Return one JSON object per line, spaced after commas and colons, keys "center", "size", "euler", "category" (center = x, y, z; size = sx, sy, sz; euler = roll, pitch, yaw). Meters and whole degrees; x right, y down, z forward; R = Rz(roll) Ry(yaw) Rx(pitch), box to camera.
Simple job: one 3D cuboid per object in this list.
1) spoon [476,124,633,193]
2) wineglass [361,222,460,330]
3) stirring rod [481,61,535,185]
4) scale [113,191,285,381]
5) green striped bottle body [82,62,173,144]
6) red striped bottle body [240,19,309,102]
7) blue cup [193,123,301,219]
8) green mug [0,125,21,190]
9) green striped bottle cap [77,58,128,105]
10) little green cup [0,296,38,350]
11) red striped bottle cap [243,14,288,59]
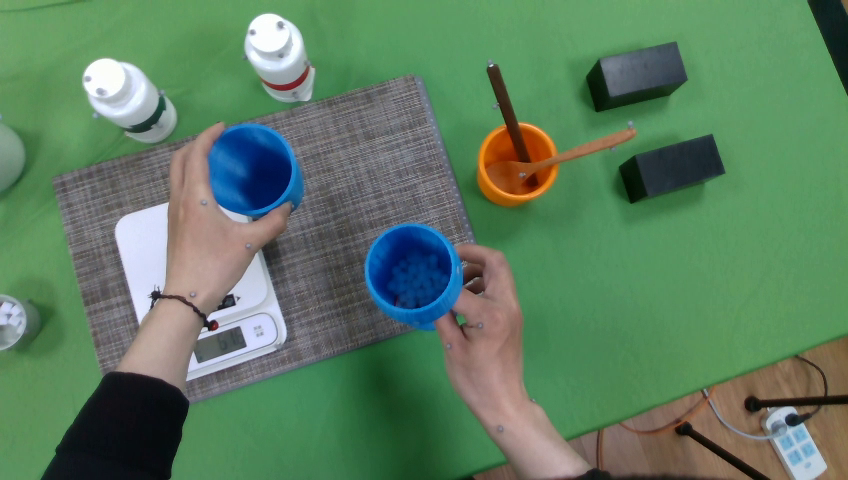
{"center": [0.141, -0.092, 0.681], "size": [0.022, 0.193, 0.041], "euler": [-20, 94, -49], "category": "spoon"}
{"center": [-0.005, 0.035, 0.492], "size": [0.073, 0.173, 0.073], "euler": [-1, 78, 4], "category": "wineglass"}
{"center": [0.097, -0.125, 0.681], "size": [0.014, 0.178, 0.006], "euler": [-5, 48, 25], "category": "stirring rod"}
{"center": [-0.257, 0.048, 0.695], "size": [0.149, 0.031, 0.200], "euler": [-19, 85, -5], "category": "scale"}
{"center": [-0.331, -0.154, 0.675], "size": [0.063, 0.119, 0.063], "euler": [0, 82, -3], "category": "green striped bottle body"}
{"center": [-0.170, -0.207, 0.691], "size": [0.063, 0.120, 0.063], "euler": [0, 82, -3], "category": "red striped bottle body"}
{"center": [-0.162, -0.059, 0.600], "size": [0.093, 0.100, 0.092], "euler": [0, 84, -1], "category": "blue cup"}
{"center": [-0.520, -0.084, 0.663], "size": [0.092, 0.105, 0.125], "euler": [17, 82, -1], "category": "green mug"}
{"center": [-0.329, -0.162, 0.619], "size": [0.044, 0.020, 0.044], "euler": [0, 83, -1], "category": "green striped bottle cap"}
{"center": [-0.468, 0.093, 0.676], "size": [0.061, 0.038, 0.061], "euler": [1, 83, -4], "category": "little green cup"}
{"center": [-0.167, -0.214, 0.638], "size": [0.044, 0.018, 0.044], "euler": [0, 80, -2], "category": "red striped bottle cap"}
